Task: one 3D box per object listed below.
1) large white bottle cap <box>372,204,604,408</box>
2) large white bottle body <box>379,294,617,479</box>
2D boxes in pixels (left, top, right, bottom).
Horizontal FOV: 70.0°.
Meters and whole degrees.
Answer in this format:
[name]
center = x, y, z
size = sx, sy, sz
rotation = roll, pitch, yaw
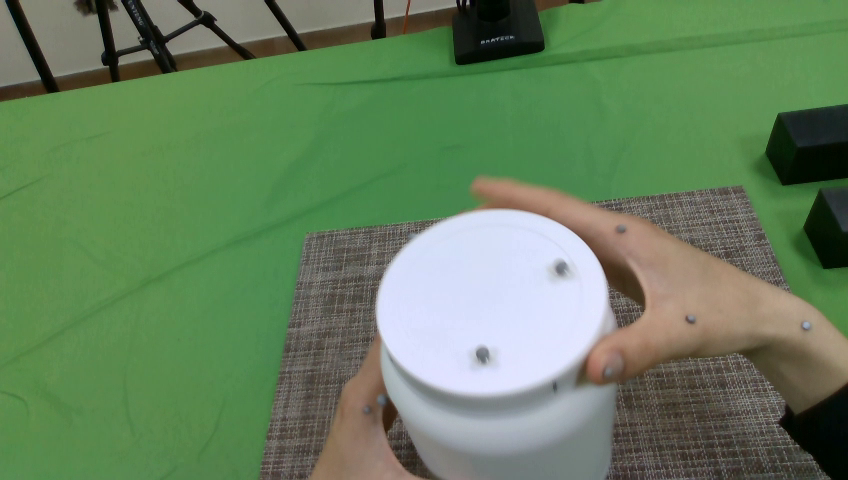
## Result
[large white bottle cap]
center = 0.030, 0.028, 0.303
size = 0.115, 0.018, 0.113
rotation = -7, 49, 8
[large white bottle body]
center = 0.047, 0.081, 0.366
size = 0.130, 0.186, 0.129
rotation = -7, 49, 8
